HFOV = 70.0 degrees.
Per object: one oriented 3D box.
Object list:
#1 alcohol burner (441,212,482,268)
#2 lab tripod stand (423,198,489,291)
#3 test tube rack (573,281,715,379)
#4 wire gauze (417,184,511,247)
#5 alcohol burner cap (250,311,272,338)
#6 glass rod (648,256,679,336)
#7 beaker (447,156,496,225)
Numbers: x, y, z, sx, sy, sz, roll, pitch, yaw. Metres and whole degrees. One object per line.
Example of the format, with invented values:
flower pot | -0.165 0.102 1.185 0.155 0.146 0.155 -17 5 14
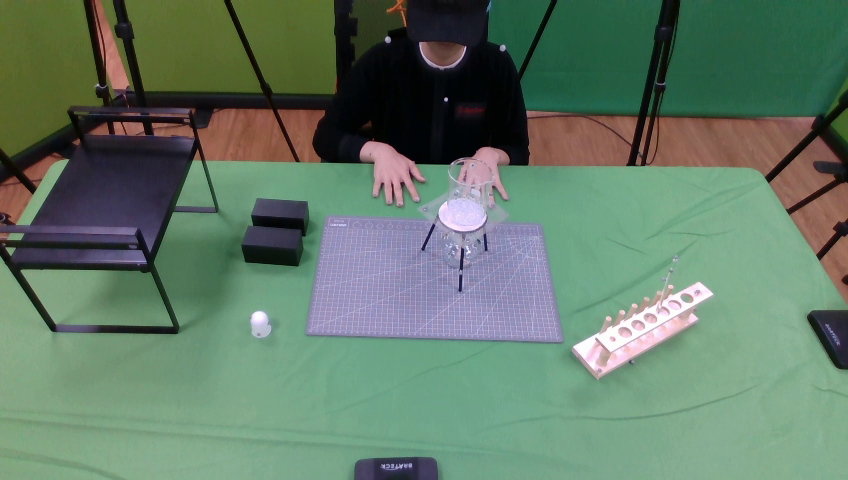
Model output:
alcohol burner | 0.071 -0.005 1.136 0.078 0.120 0.077 1 44 -1
lab tripod stand | 0.064 -0.002 1.119 0.148 0.132 0.147 1 47 0
test tube rack | 0.378 0.140 1.038 0.242 0.085 0.066 -22 51 -22
wire gauze | 0.071 -0.049 1.074 0.121 0.011 0.124 -31 52 -30
alcohol burner cap | -0.278 0.141 1.026 0.034 0.048 0.033 1 46 -1
glass rod | 0.390 0.095 0.990 0.008 0.201 0.008 -2 45 2
beaker | 0.078 -0.081 1.037 0.084 0.101 0.073 15 48 12
